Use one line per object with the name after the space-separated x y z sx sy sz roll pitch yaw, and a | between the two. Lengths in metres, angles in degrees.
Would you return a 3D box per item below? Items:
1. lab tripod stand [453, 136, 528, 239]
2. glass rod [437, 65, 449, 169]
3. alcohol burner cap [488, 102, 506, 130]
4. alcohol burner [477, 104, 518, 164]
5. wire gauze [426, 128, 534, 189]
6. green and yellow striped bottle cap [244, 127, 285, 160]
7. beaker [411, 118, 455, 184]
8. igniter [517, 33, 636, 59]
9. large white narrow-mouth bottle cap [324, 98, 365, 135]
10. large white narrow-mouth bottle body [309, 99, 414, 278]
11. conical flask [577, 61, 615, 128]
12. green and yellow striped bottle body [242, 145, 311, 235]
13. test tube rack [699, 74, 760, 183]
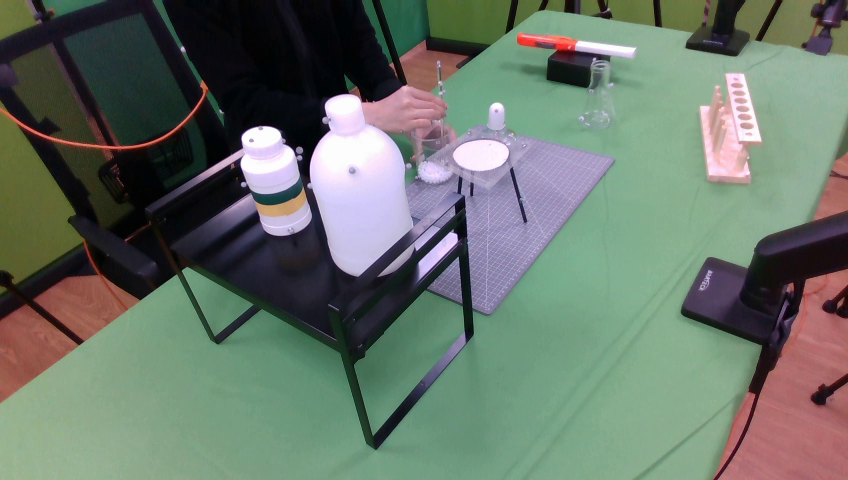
0.095 -0.086 0.974 0.148 0.132 0.147 -4 43 4 | lab tripod stand
0.033 -0.207 1.047 0.008 0.200 0.008 -4 40 4 | glass rod
0.133 -0.227 1.092 0.034 0.048 0.033 -1 47 2 | alcohol burner cap
0.135 -0.200 1.117 0.078 0.119 0.077 -4 43 4 | alcohol burner
0.086 -0.131 0.924 0.124 0.011 0.122 26 52 33 | wire gauze
-0.183 -0.111 0.694 0.045 0.020 0.045 -1 42 1 | green and yellow striped bottle cap
0.020 -0.161 1.099 0.073 0.100 0.084 14 44 22 | beaker
0.336 -0.441 1.369 0.275 0.025 0.057 16 41 23 | igniter
-0.076 -0.120 0.585 0.038 0.024 0.037 -3 42 3 | large white narrow-mouth bottle cap
-0.068 -0.057 0.644 0.102 0.195 0.101 -4 42 4 | large white narrow-mouth bottle body
0.343 -0.288 1.188 0.075 0.122 0.075 -4 41 4 | conical flask
-0.179 -0.069 0.730 0.063 0.120 0.063 -4 41 4 | green and yellow striped bottle body
0.547 -0.208 1.095 0.066 0.085 0.242 6 42 16 | test tube rack
